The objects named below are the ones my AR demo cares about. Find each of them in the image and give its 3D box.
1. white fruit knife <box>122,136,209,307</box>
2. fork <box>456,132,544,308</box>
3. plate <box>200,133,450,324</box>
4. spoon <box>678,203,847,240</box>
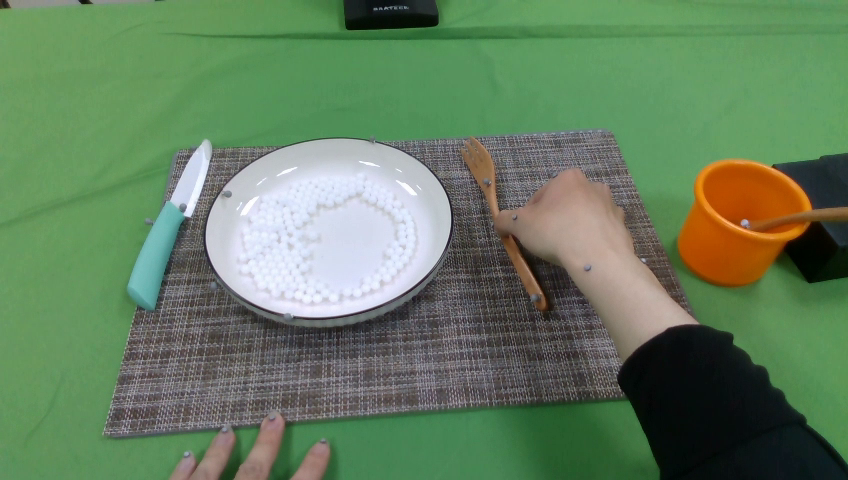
[{"bbox_3d":[-0.228,-0.028,0.548,0.027,0.016,0.205,22,44,-20],"label":"white fruit knife"},{"bbox_3d":[0.066,-0.024,0.546,0.019,0.028,0.205,16,41,-34],"label":"fork"},{"bbox_3d":[-0.081,-0.012,0.523,0.209,0.038,0.207,1,50,-1],"label":"plate"},{"bbox_3d":[0.288,-0.017,0.473,0.041,0.193,0.022,-32,101,-29],"label":"spoon"}]
